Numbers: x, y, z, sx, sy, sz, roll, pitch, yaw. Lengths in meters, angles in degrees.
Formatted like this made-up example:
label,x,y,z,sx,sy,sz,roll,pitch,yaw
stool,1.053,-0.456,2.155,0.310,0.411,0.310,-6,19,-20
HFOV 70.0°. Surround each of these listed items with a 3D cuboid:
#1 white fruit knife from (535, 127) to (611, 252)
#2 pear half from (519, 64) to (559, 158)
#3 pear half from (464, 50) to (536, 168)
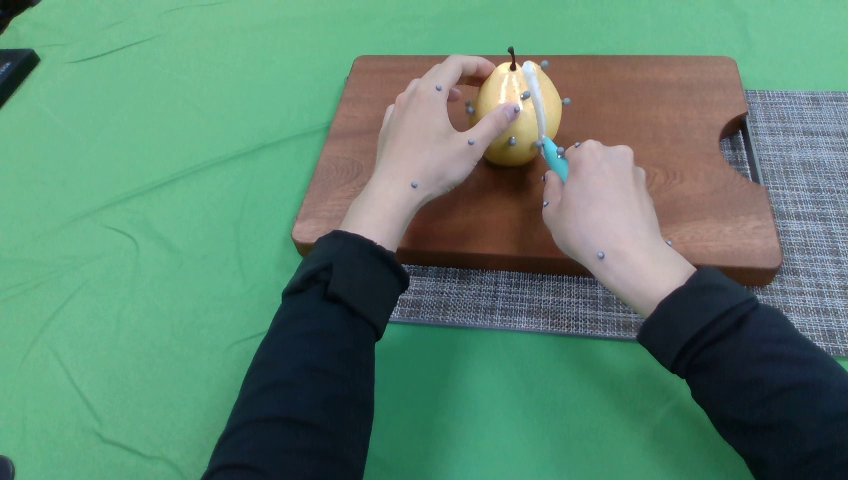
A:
label,x,y,z,sx,sy,sz,roll,pitch,yaw
white fruit knife,0.104,-0.073,0.514,0.016,0.028,0.205,-17,51,-7
pear half,0.102,-0.117,0.536,0.031,0.089,0.069,-19,48,-14
pear half,0.063,-0.113,0.523,0.056,0.111,0.075,-20,48,-9
